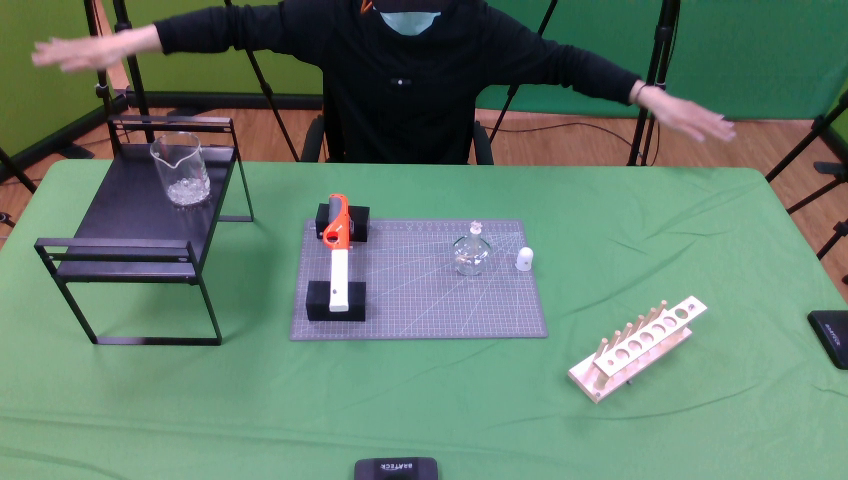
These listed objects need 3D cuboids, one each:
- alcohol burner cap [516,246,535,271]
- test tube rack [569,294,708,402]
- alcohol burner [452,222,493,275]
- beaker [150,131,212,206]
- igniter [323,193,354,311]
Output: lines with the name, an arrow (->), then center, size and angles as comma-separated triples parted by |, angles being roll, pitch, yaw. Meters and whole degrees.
alcohol burner cap -> 0.195, 0.032, 1.158 | 0.034, 0.048, 0.033 | 2, 45, -2
test tube rack -> 0.360, 0.167, 1.015 | 0.242, 0.085, 0.066 | -25, 52, -25
alcohol burner -> 0.091, 0.009, 1.124 | 0.078, 0.119, 0.077 | 2, 48, -2
beaker -> -0.385, -0.110, 0.969 | 0.074, 0.101, 0.083 | -6, 48, -9
igniter -> -0.155, 0.012, 1.097 | 0.057, 0.025, 0.274 | -1, 48, -7
